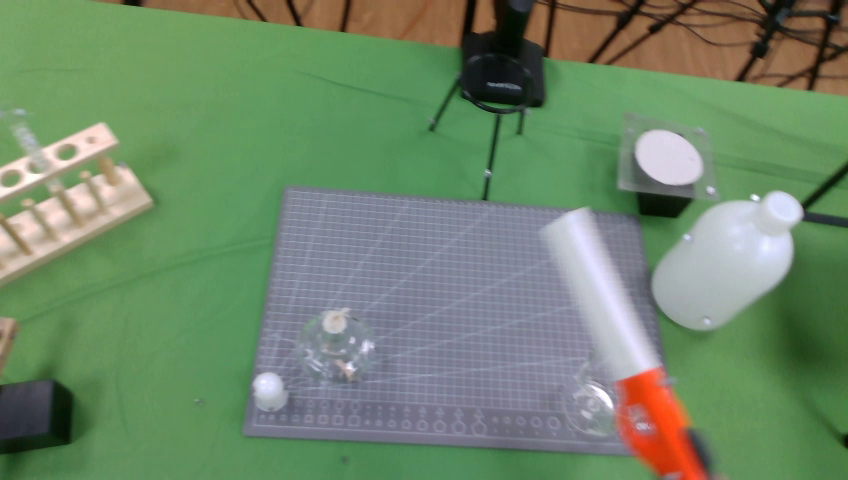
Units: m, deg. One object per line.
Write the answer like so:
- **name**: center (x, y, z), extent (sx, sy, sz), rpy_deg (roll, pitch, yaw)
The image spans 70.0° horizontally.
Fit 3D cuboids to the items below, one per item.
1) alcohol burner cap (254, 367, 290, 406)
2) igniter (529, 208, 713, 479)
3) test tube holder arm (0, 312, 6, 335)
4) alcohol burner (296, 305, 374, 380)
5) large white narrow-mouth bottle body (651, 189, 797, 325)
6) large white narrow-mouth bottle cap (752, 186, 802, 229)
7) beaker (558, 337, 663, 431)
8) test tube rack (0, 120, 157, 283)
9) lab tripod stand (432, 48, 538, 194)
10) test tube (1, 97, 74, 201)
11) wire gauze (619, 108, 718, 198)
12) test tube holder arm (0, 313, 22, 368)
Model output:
- **alcohol burner cap**: center (-0.153, 0.144, 0.600), extent (0.034, 0.048, 0.033), rpy_deg (3, 62, -5)
- **igniter**: center (0.153, 0.105, 0.445), extent (0.025, 0.057, 0.275), rpy_deg (-15, 75, -43)
- **test tube holder arm**: center (-0.399, 0.147, 0.527), extent (0.013, 0.015, 0.177), rpy_deg (7, 60, -3)
- **alcohol burner**: center (-0.087, 0.094, 0.595), extent (0.078, 0.120, 0.077), rpy_deg (4, 60, -7)
- **large white narrow-mouth bottle body**: center (0.327, 0.012, 0.651), extent (0.102, 0.196, 0.101), rpy_deg (3, 60, -4)
- **large white narrow-mouth bottle cap**: center (0.335, -0.031, 0.577), extent (0.038, 0.024, 0.037), rpy_deg (3, 60, -5)
- **beaker**: center (0.179, 0.147, 0.609), extent (0.084, 0.101, 0.073), rpy_deg (2, 60, -5)
- **test tube rack**: center (-0.422, -0.027, 0.638), extent (0.242, 0.086, 0.066), rpy_deg (-33, 70, -23)
- **lab tripod stand**: center (0.082, -0.152, 0.746), extent (0.149, 0.132, 0.147), rpy_deg (4, 62, -7)
- **test tube**: center (-0.389, -0.087, 0.617), extent (0.017, 0.151, 0.017), rpy_deg (4, 58, -6)
- **wire gauze**: center (0.308, -0.110, 0.767), extent (0.121, 0.011, 0.124), rpy_deg (11, 60, -1)
- **test tube holder arm**: center (-0.390, 0.109, 0.550), extent (0.010, 0.015, 0.087), rpy_deg (8, 60, -3)
